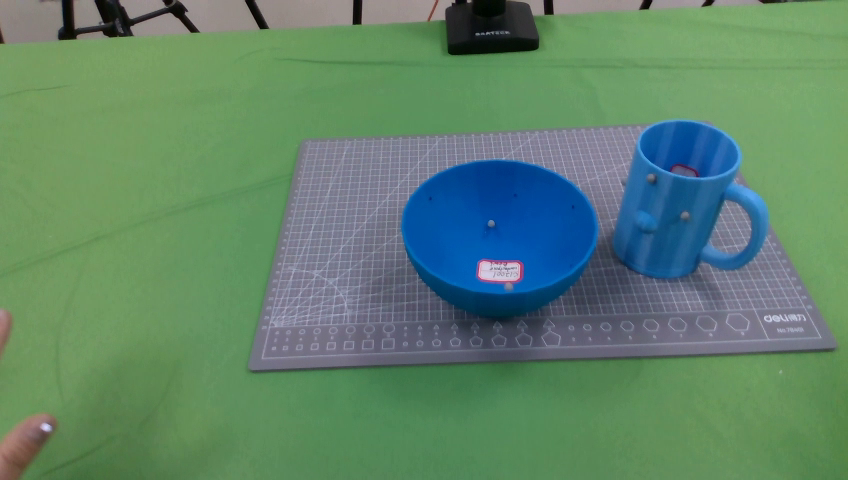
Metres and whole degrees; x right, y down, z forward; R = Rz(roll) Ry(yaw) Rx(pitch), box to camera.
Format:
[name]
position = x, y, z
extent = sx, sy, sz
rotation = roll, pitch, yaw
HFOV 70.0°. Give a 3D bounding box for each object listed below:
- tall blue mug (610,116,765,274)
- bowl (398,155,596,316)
[tall blue mug]
position = 0.215, -0.031, 0.494
extent = 0.107, 0.109, 0.077
rotation = 12, 47, 15
[bowl]
position = 0.057, 0.008, 0.487
extent = 0.151, 0.077, 0.150
rotation = -2, 46, 2
